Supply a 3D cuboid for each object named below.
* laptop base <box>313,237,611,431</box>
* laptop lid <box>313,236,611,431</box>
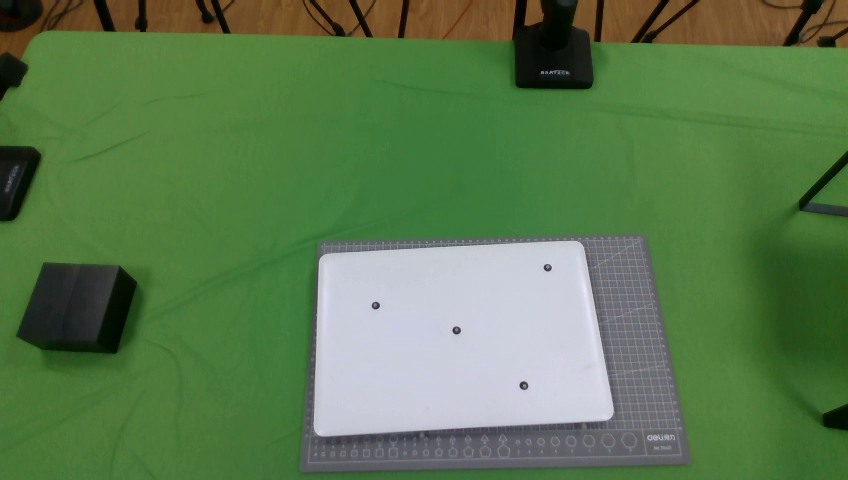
[{"bbox_3d":[0.040,0.112,0.763,0.354,0.023,0.233,-3,67,-1],"label":"laptop base"},{"bbox_3d":[0.040,0.108,0.751,0.357,0.013,0.239,-2,66,0],"label":"laptop lid"}]
